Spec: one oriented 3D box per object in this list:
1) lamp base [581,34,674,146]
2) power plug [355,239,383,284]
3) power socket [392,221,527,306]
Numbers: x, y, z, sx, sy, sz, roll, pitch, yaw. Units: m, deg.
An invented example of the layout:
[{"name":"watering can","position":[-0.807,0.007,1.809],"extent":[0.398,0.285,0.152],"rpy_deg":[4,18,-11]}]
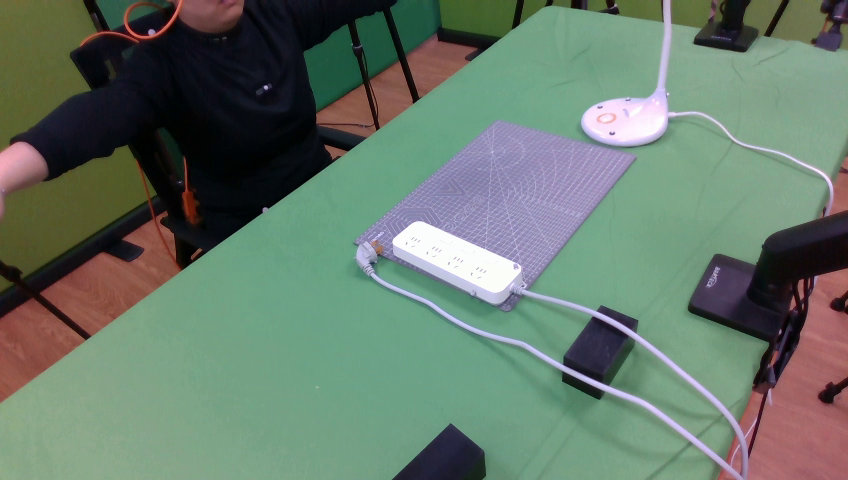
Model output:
[{"name":"lamp base","position":[0.392,-0.291,1.129],"extent":[0.180,0.181,0.159],"rpy_deg":[-11,41,-8]},{"name":"power plug","position":[-0.078,0.033,0.947],"extent":[0.053,0.035,0.072],"rpy_deg":[-34,82,-22]},{"name":"power socket","position":[0.046,0.031,0.912],"extent":[0.225,0.033,0.072],"rpy_deg":[25,51,32]}]
